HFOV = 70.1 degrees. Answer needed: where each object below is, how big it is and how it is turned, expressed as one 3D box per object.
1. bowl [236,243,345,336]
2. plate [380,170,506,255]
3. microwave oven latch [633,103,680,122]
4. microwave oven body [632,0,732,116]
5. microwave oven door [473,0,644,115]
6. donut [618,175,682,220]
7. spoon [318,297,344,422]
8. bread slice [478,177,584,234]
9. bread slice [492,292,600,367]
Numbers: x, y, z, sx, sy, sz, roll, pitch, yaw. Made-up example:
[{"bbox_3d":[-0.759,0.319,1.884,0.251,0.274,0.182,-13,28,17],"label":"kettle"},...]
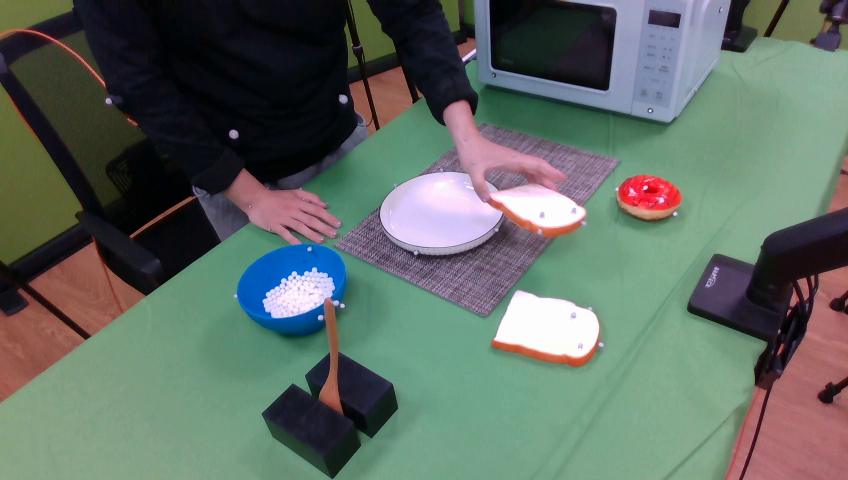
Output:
[{"bbox_3d":[-0.180,0.082,0.855,0.151,0.077,0.150,-4,41,4],"label":"bowl"},{"bbox_3d":[0.032,-0.042,0.995,0.207,0.039,0.206,-4,40,4],"label":"plate"},{"bbox_3d":[0.444,-0.249,1.157,0.078,0.029,0.030,21,49,30],"label":"microwave oven latch"},{"bbox_3d":[0.377,-0.462,1.267,0.438,0.261,0.327,21,48,30],"label":"microwave oven body"},{"bbox_3d":[0.257,-0.396,1.199,0.353,0.245,0.039,21,48,29],"label":"microwave oven door"},{"bbox_3d":[0.366,-0.070,0.982,0.099,0.048,0.098,-3,39,3],"label":"donut"},{"bbox_3d":[-0.107,0.139,0.687,0.041,0.194,0.022,27,37,31],"label":"spoon"},{"bbox_3d":[0.162,-0.050,0.871,0.107,0.018,0.133,-22,38,-32],"label":"bread slice"},{"bbox_3d":[0.169,0.118,0.811,0.131,0.019,0.105,11,44,21],"label":"bread slice"}]
